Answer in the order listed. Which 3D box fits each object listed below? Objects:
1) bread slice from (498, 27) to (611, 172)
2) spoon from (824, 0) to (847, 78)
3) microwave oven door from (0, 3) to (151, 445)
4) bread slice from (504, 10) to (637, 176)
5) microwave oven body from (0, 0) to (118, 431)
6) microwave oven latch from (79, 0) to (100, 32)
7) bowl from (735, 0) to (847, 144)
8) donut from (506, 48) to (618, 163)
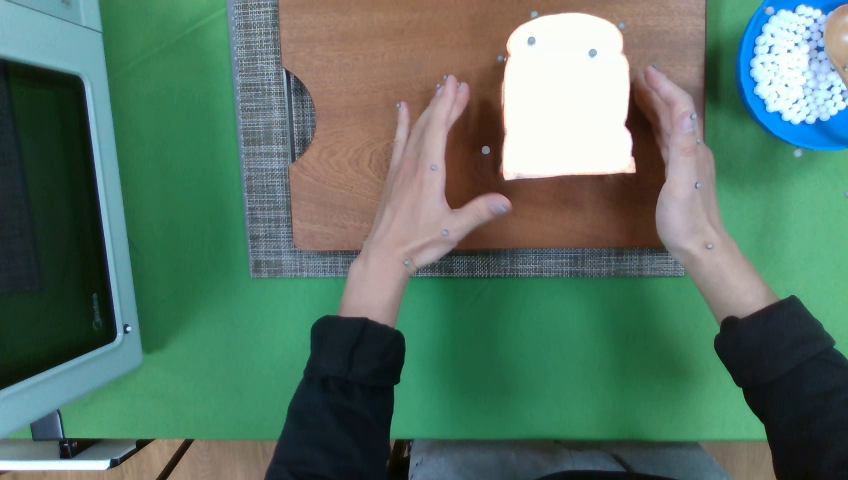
[{"bbox_3d":[0.120,-0.129,0.563,0.105,0.019,0.132,-2,98,6],"label":"bread slice"},{"bbox_3d":[0.360,-0.111,0.501,0.041,0.022,0.193,2,77,0],"label":"spoon"},{"bbox_3d":[-0.348,-0.023,0.535,0.039,0.243,0.356,-4,97,8],"label":"microwave oven door"},{"bbox_3d":[0.116,-0.120,0.504,0.107,0.018,0.134,-5,91,8],"label":"bread slice"},{"bbox_3d":[-0.496,-0.055,0.555,0.326,0.260,0.442,-4,97,7],"label":"microwave oven body"},{"bbox_3d":[-0.350,-0.251,0.608,0.030,0.029,0.079,-3,98,7],"label":"microwave oven latch"},{"bbox_3d":[0.342,-0.158,0.529,0.151,0.077,0.151,1,98,8],"label":"bowl"},{"bbox_3d":[0.121,-0.117,0.534,0.099,0.048,0.099,1,99,6],"label":"donut"}]
